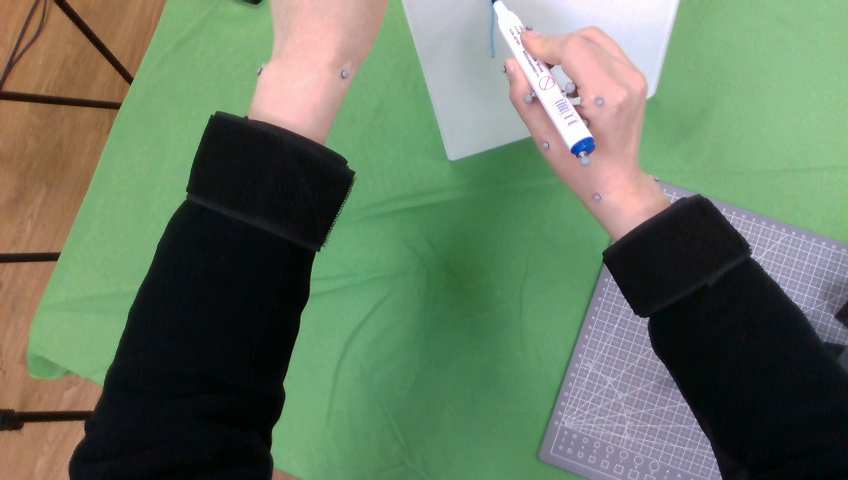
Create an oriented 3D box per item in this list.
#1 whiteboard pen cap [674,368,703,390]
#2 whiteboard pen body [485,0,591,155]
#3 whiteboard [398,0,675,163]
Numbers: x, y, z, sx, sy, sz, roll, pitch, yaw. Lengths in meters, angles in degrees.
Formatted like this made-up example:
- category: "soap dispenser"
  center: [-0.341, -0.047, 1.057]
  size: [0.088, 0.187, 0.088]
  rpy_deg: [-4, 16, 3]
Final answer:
- category: "whiteboard pen cap"
  center: [0.253, 0.132, 0.582]
  size: [0.018, 0.033, 0.018]
  rpy_deg: [0, 89, 3]
- category: "whiteboard pen body"
  center: [0.069, -0.112, 0.393]
  size: [0.017, 0.017, 0.139]
  rpy_deg: [-26, 67, 3]
- category: "whiteboard"
  center: [0.083, -0.228, 0.507]
  size: [0.217, 0.308, 0.142]
  rpy_deg: [-16, 66, 4]
